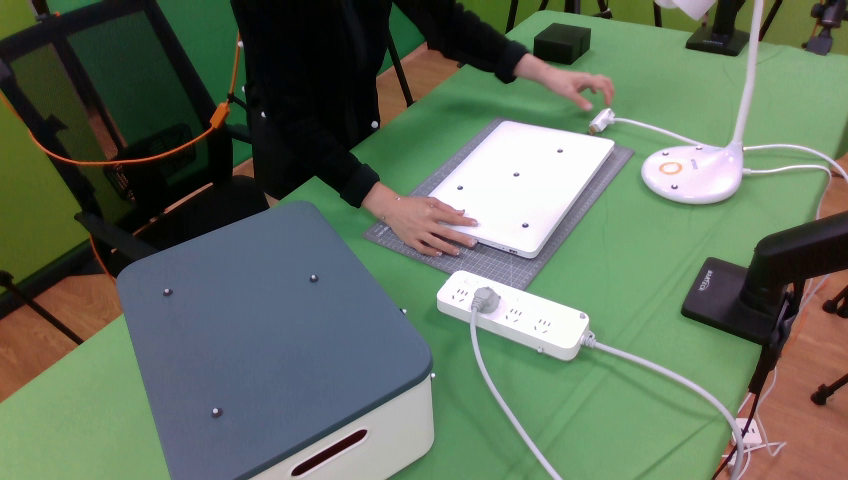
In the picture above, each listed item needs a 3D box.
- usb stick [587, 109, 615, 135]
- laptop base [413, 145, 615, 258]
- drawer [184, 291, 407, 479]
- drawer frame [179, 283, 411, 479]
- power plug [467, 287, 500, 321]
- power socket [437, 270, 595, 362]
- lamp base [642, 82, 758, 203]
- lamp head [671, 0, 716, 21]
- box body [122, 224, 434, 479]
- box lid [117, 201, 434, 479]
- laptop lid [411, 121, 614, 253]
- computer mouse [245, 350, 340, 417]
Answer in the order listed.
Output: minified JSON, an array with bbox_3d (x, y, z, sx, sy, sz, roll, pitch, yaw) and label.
[{"bbox_3d":[0.344,-0.229,1.184,0.059,0.021,0.027,-47,20,-9],"label":"usb stick"},{"bbox_3d":[0.167,-0.102,1.075,0.234,0.023,0.355,16,45,30],"label":"laptop base"},{"bbox_3d":[-0.155,0.180,0.720,0.195,0.073,0.210,-27,40,-21],"label":"drawer"},{"bbox_3d":[-0.155,0.179,0.727,0.202,0.083,0.211,-28,49,-20],"label":"drawer frame"},{"bbox_3d":[0.073,0.092,0.814,0.035,0.053,0.073,29,54,34],"label":"power plug"},{"bbox_3d":[0.119,0.101,0.832,0.225,0.033,0.072,19,48,27],"label":"power socket"},{"bbox_3d":[0.464,-0.174,0.992,0.179,0.181,0.159,-5,41,-1],"label":"lamp base"},{"bbox_3d":[0.375,-0.373,0.807,0.122,0.113,0.112,-40,27,32],"label":"lamp head"},{"bbox_3d":[-0.175,0.142,0.725,0.255,0.161,0.360,-25,43,-20],"label":"box body"},{"bbox_3d":[-0.182,0.087,0.675,0.264,0.015,0.368,-25,42,-20],"label":"box lid"},{"bbox_3d":[0.164,-0.112,1.068,0.240,0.013,0.357,19,46,31],"label":"laptop lid"},{"bbox_3d":[-0.164,0.173,0.754,0.118,0.041,0.062,-18,33,-18],"label":"computer mouse"}]
